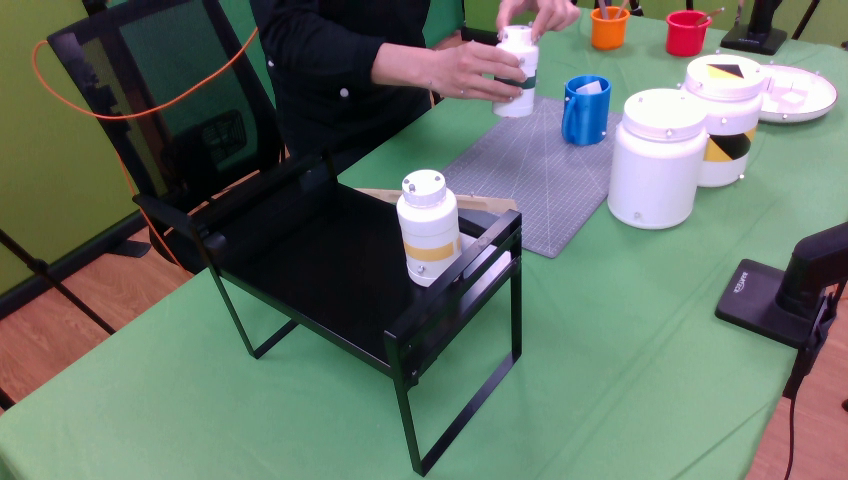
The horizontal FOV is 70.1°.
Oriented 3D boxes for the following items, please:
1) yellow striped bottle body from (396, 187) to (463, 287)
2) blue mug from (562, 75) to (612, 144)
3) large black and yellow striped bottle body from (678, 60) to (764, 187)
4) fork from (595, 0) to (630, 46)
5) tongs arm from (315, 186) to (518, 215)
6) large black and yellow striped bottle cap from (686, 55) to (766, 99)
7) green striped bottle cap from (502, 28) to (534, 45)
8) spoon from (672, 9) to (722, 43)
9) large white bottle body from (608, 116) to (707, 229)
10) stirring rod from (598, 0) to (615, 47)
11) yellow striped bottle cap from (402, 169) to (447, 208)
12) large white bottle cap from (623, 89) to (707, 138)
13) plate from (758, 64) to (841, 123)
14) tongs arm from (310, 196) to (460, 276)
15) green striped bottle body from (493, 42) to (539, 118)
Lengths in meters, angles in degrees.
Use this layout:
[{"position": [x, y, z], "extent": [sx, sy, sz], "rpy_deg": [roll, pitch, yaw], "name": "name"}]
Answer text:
[{"position": [0.006, -0.013, 0.638], "extent": [0.063, 0.121, 0.062], "rpy_deg": [-5, 41, 5], "name": "yellow striped bottle body"}, {"position": [0.298, -0.239, 1.143], "extent": [0.081, 0.106, 0.117], "rpy_deg": [30, 54, 36], "name": "blue mug"}, {"position": [0.482, -0.196, 1.008], "extent": [0.131, 0.185, 0.130], "rpy_deg": [-4, 41, 4], "name": "large black and yellow striped bottle body"}, {"position": [0.479, -0.556, 1.452], "extent": [0.028, 0.019, 0.207], "rpy_deg": [41, 103, 40], "name": "fork"}, {"position": [-0.028, -0.060, 0.988], "extent": [0.382, 0.027, 0.051], "rpy_deg": [10, 45, 36], "name": "tongs arm"}, {"position": [0.474, -0.258, 0.952], "extent": [0.115, 0.019, 0.114], "rpy_deg": [-5, 41, 5], "name": "large black and yellow striped bottle cap"}, {"position": [0.134, -0.290, 0.862], "extent": [0.044, 0.020, 0.044], "rpy_deg": [0, 27, 0], "name": "green striped bottle cap"}, {"position": [0.606, -0.476, 1.345], "extent": [0.042, 0.021, 0.193], "rpy_deg": [-6, -3, -2], "name": "spoon"}, {"position": [0.361, -0.124, 0.942], "extent": [0.130, 0.185, 0.130], "rpy_deg": [-4, 41, 4], "name": "large white bottle body"}, {"position": [0.437, -0.551, 1.462], "extent": [0.014, 0.006, 0.175], "rpy_deg": [-11, 83, 1], "name": "stirring rod"}, {"position": [0.000, -0.052, 0.605], "extent": [0.044, 0.019, 0.044], "rpy_deg": [-5, 43, 5], "name": "yellow striped bottle cap"}, {"position": [0.352, -0.187, 0.886], "extent": [0.115, 0.018, 0.114], "rpy_deg": [-4, 41, 4], "name": "large white bottle cap"}, {"position": [0.695, -0.283, 1.189], "extent": [0.207, 0.039, 0.206], "rpy_deg": [-4, 40, 4], "name": "plate"}, {"position": [-0.078, -0.012, 0.944], "extent": [0.028, 0.028, 0.384], "rpy_deg": [-43, 39, -22], "name": "tongs arm"}, {"position": [0.135, -0.245, 0.888], "extent": [0.063, 0.119, 0.063], "rpy_deg": [0, 31, 0], "name": "green striped bottle body"}]
